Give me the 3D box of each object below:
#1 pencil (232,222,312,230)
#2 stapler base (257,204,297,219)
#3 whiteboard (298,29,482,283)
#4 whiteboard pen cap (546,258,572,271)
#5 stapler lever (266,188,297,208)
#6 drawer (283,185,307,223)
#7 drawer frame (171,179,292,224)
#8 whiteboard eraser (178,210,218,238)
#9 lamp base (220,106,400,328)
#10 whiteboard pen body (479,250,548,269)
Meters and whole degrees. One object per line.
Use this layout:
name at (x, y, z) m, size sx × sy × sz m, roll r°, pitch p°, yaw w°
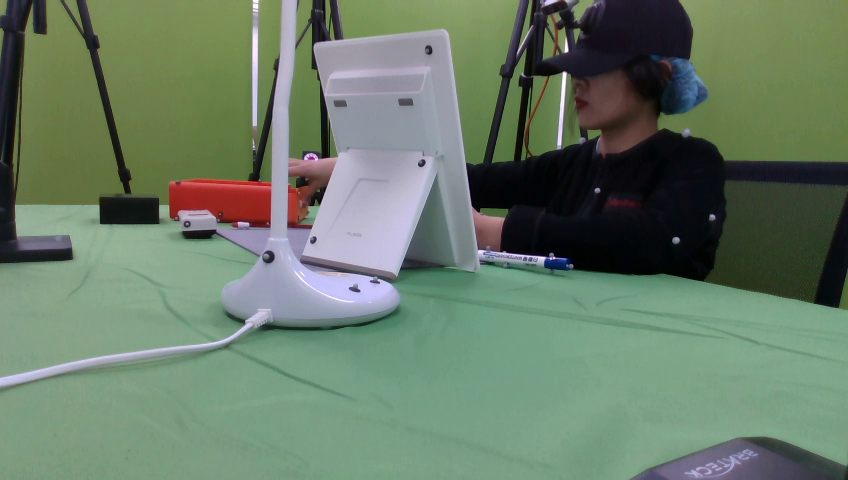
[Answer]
pencil at (-0.261, -0.025, 1.141) m, size 0.195 × 0.012 × 0.012 m, roll 2°, pitch 7°, yaw -26°
stapler base at (-0.315, -0.065, 1.311) m, size 0.041 × 0.024 × 0.131 m, roll 21°, pitch 7°, yaw 9°
whiteboard at (-0.075, -0.082, 0.741) m, size 0.216 × 0.305 × 0.144 m, roll 9°, pitch 29°, yaw 37°
whiteboard pen cap at (0.175, 0.032, 0.790) m, size 0.033 × 0.018 × 0.018 m, roll 3°, pitch 6°, yaw 37°
stapler lever at (-0.307, -0.089, 1.310) m, size 0.027 × 0.040 × 0.118 m, roll 21°, pitch 6°, yaw 9°
drawer at (-0.366, -0.084, 1.306) m, size 0.212 × 0.073 × 0.194 m, roll 2°, pitch 8°, yaw -5°
drawer frame at (-0.404, -0.086, 1.302) m, size 0.214 × 0.082 × 0.201 m, roll 1°, pitch 8°, yaw -6°
whiteboard eraser at (-0.380, -0.027, 1.014) m, size 0.056 × 0.042 × 0.112 m, roll 0°, pitch 8°, yaw -25°
lamp base at (-0.101, -0.023, 0.531) m, size 0.160 × 0.180 × 0.179 m, roll 4°, pitch 10°, yaw 10°
whiteboard pen body at (0.129, 0.027, 0.827) m, size 0.140 × 0.017 × 0.017 m, roll 6°, pitch 8°, yaw 39°
